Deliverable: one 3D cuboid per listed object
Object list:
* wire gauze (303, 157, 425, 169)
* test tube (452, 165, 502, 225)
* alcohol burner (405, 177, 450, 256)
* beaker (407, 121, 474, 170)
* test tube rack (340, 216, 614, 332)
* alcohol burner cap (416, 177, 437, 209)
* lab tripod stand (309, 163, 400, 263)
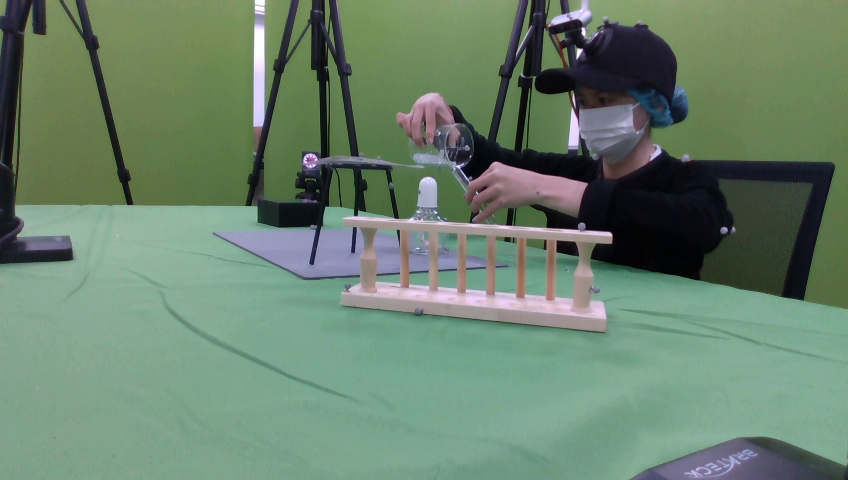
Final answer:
[{"bbox_3d":[-0.082,-0.102,0.799,0.126,0.011,0.121,-1,7,-30],"label":"wire gauze"},{"bbox_3d":[0.086,-0.069,0.986,0.017,0.017,0.149,-3,48,-37],"label":"test tube"},{"bbox_3d":[0.004,-0.036,0.917,0.078,0.119,0.078,4,6,0],"label":"alcohol burner"},{"bbox_3d":[0.026,-0.165,1.057,0.100,0.084,0.074,10,-3,44],"label":"beaker"},{"bbox_3d":[0.048,0.026,0.568,0.242,0.085,0.067,4,8,13],"label":"test tube rack"},{"bbox_3d":[0.005,-0.072,0.914,0.034,0.048,0.034,4,10,0],"label":"alcohol burner cap"},{"bbox_3d":[-0.091,-0.037,0.813,0.148,0.131,0.148,1,6,0],"label":"lab tripod stand"}]
